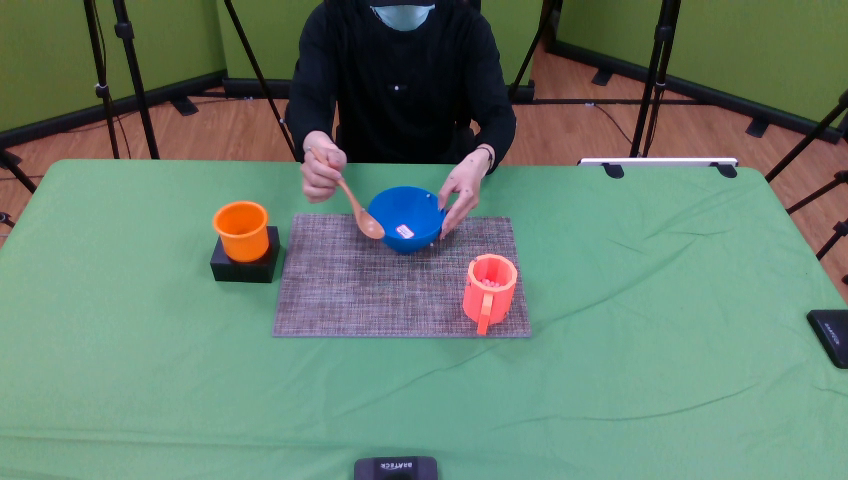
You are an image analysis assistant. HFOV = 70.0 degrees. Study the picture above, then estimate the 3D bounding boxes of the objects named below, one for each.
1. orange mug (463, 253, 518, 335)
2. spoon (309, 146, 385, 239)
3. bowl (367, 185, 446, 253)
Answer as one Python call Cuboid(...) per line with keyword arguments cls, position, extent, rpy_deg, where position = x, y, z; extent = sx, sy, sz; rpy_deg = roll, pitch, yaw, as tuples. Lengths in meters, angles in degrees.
Cuboid(cls="orange mug", position=(0.112, 0.098, 1.050), extent=(0.083, 0.101, 0.125), rpy_deg=(10, 41, 6))
Cuboid(cls="spoon", position=(-0.128, -0.080, 1.015), extent=(0.194, 0.021, 0.041), rpy_deg=(56, 38, -8))
Cuboid(cls="bowl", position=(-0.034, -0.028, 1.177), extent=(0.151, 0.077, 0.150), rpy_deg=(2, 46, -2))
